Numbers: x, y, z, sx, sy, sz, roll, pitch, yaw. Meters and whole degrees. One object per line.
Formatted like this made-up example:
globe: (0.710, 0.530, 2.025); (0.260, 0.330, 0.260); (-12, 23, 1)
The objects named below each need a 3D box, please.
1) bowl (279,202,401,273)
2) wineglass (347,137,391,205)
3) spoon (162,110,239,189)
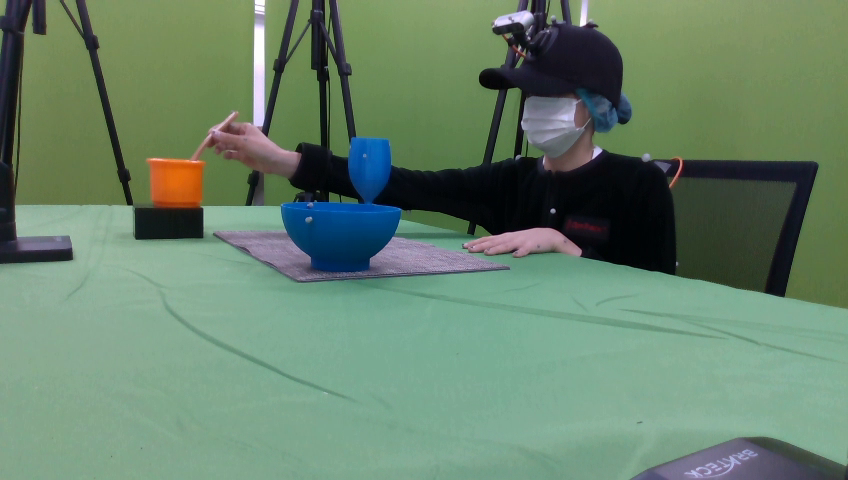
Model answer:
bowl: (-0.105, -0.003, 0.756); (0.151, 0.077, 0.151); (3, 7, 0)
wineglass: (-0.093, -0.081, 0.996); (0.074, 0.172, 0.073); (3, 7, 0)
spoon: (-0.372, -0.155, 1.022); (0.041, 0.194, 0.022); (11, -30, 36)
